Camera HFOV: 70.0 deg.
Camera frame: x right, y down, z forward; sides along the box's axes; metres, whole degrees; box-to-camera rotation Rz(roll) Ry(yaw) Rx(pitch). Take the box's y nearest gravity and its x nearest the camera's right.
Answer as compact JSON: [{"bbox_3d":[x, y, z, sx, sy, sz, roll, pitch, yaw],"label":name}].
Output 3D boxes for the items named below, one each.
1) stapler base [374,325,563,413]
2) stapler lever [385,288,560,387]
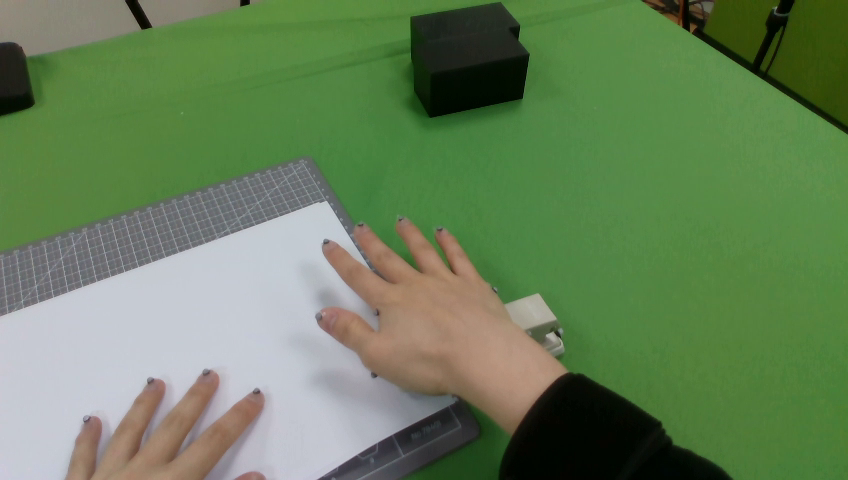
[{"bbox_3d":[0.031,0.072,0.400,0.131,0.024,0.041,-18,53,-19],"label":"stapler base"},{"bbox_3d":[0.031,0.060,0.388,0.118,0.040,0.026,-23,55,-12],"label":"stapler lever"}]
